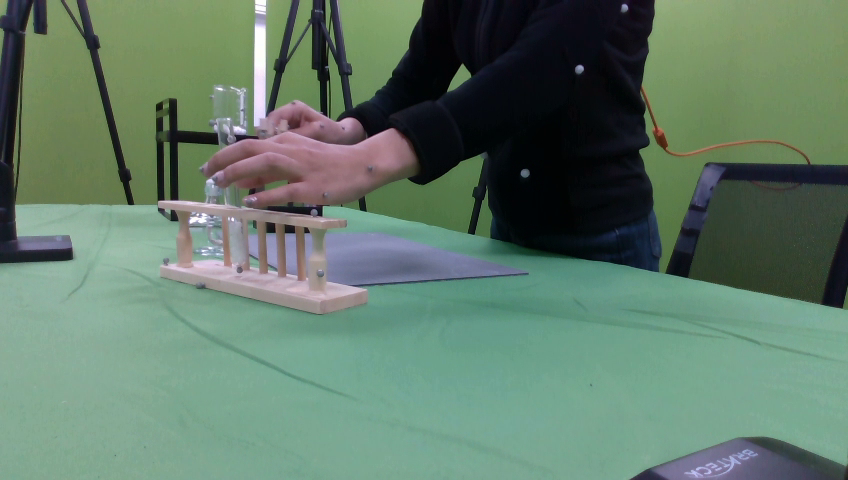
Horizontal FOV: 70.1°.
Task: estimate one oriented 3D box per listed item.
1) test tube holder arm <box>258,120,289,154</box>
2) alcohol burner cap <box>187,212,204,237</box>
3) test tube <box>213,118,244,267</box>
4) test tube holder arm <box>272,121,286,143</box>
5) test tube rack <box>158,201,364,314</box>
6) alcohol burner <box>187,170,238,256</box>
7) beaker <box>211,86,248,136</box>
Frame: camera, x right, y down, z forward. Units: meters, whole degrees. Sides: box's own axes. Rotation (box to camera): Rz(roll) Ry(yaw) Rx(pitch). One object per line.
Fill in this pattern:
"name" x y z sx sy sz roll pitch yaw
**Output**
"test tube holder arm" -0.188 -0.129 0.767 0.013 0.015 0.178 6 -1 -6
"alcohol burner cap" -0.390 -0.029 1.025 0.034 0.048 0.034 2 9 0
"test tube" -0.197 -0.047 0.611 0.017 0.150 0.017 -3 8 1
"test tube holder arm" -0.175 -0.128 0.725 0.010 0.015 0.087 5 -1 -19
"test tube rack" -0.174 0.009 0.624 0.241 0.085 0.067 7 9 34
"alcohol burner" -0.297 -0.038 0.850 0.078 0.119 0.078 2 6 0
"beaker" -0.414 -0.274 1.297 0.074 0.100 0.083 -5 11 -44
